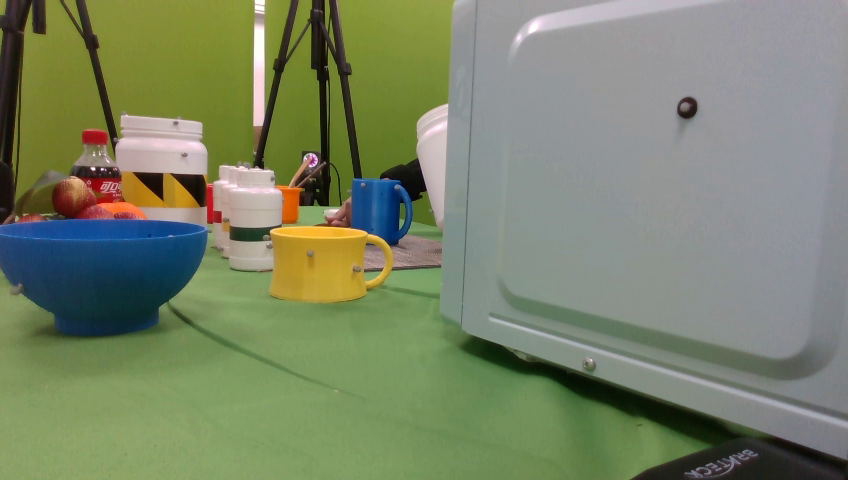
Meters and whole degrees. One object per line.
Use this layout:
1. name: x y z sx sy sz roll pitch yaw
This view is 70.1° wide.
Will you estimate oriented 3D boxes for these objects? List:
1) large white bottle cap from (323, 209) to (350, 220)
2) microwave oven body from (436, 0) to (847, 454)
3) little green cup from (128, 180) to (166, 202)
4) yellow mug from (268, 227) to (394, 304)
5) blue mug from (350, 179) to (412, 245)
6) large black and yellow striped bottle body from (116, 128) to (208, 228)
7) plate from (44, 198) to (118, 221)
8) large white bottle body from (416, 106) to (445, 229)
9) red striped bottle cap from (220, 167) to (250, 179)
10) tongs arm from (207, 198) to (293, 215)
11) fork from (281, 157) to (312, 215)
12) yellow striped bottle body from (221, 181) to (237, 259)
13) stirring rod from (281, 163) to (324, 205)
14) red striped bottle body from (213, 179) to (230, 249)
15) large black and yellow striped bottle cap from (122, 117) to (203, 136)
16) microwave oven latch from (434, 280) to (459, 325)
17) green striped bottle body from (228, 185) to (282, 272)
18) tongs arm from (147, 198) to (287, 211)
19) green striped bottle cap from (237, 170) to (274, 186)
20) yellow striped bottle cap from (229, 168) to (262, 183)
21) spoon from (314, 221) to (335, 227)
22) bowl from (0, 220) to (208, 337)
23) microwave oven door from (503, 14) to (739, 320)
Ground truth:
1. large white bottle cap: -0.184 -0.062 1.449 0.115 0.018 0.115 2 8 0
2. microwave oven body: 0.279 -0.040 0.464 0.444 0.260 0.324 -3 9 -41
3. little green cup: -0.485 -0.087 1.062 0.061 0.038 0.061 -1 6 0
4. yellow mug: -0.094 0.023 0.630 0.131 0.064 0.099 0 7 -22
5. blue mug: -0.068 -0.046 1.000 0.116 0.106 0.083 7 9 32
6. large black and yellow striped bottle body: -0.404 -0.089 0.937 0.131 0.184 0.130 3 7 0
7. plate: -0.617 -0.056 1.179 0.209 0.038 0.209 3 7 0
8. large white bottle body: 0.063 -0.114 0.974 0.131 0.184 0.130 -15 -12 -3
9. red striped bottle cap: -0.281 -0.099 0.901 0.044 0.017 0.044 -1 5 0
10. tongs arm: -0.423 -0.084 1.472 0.050 0.026 0.386 1 6 21
11. fork: -0.289 -0.116 1.321 0.028 0.019 0.207 6 51 19
12. yellow striped bottle body: -0.244 -0.035 0.823 0.063 0.120 0.063 2 8 0
13. stirring rod: -0.278 -0.105 1.293 0.176 0.006 0.014 -47 25 -18
14. red striped bottle body: -0.284 -0.048 0.909 0.063 0.119 0.063 3 10 0
15. large black and yellow striped bottle cap: -0.399 -0.174 0.927 0.115 0.019 0.115 5 9 -1
16. microwave oven latch: 0.044 0.045 0.470 0.079 0.029 0.030 -2 8 -39
17. green striped bottle body: -0.208 -0.023 0.745 0.063 0.119 0.063 2 7 0
18. tongs arm: -0.503 -0.090 1.513 0.028 0.028 0.389 -1 3 38
19. green striped bottle cap: -0.205 -0.075 0.737 0.044 0.020 0.044 1 6 0
20. yellow striped bottle cap: -0.240 -0.087 0.816 0.044 0.018 0.044 -3 5 1
21. spoon: -0.183 -0.027 1.131 0.041 0.021 0.193 -18 7 1
22. bowl: -0.251 0.029 0.479 0.151 0.077 0.151 2 7 0
23. microwave oven door: 0.218 -0.065 0.600 0.358 0.243 0.039 -4 10 -41
